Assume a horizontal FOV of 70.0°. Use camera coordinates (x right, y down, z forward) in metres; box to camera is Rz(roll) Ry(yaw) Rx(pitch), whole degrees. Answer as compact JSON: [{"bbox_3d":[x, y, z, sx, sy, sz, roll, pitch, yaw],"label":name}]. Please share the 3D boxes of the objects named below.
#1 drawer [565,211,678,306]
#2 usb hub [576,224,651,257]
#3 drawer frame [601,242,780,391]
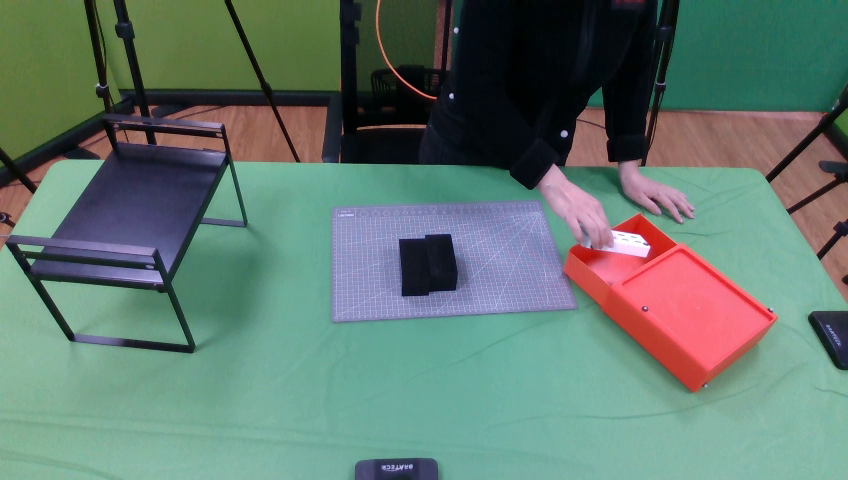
[{"bbox_3d":[0.405,0.065,1.125,0.194,0.073,0.210,-24,53,-25],"label":"drawer"},{"bbox_3d":[0.341,0.001,1.093,0.125,0.025,0.049,9,28,-11],"label":"usb hub"},{"bbox_3d":[0.462,0.125,1.065,0.202,0.083,0.212,-26,54,-26],"label":"drawer frame"}]
